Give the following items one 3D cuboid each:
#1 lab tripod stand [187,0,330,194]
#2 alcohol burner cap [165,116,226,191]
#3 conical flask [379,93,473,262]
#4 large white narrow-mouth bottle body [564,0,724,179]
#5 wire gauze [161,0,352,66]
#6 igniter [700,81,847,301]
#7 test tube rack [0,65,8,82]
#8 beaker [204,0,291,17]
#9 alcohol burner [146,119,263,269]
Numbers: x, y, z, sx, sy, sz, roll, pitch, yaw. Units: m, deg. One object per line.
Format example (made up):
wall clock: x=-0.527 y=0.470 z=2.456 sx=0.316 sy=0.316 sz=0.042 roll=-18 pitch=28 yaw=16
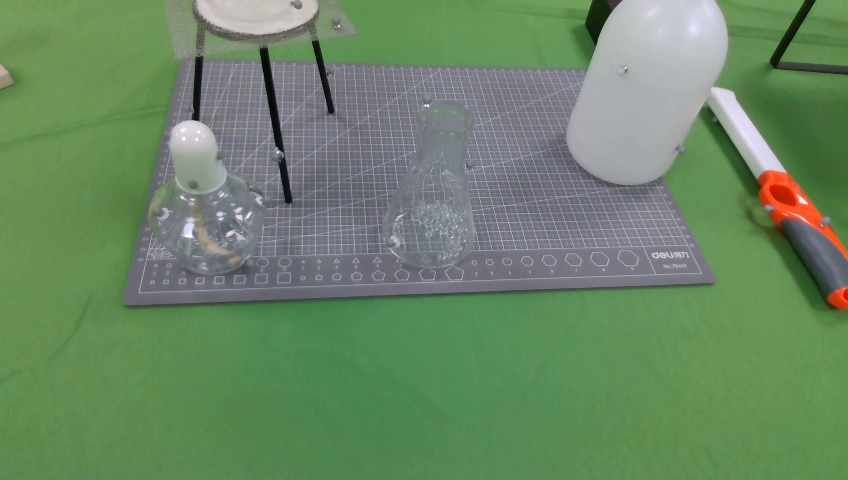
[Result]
lab tripod stand: x=-0.129 y=-0.132 z=0.487 sx=0.148 sy=0.132 sz=0.147 roll=5 pitch=50 yaw=-6
alcohol burner cap: x=-0.147 y=-0.057 z=0.387 sx=0.034 sy=0.048 sz=0.033 roll=4 pitch=55 yaw=-5
conical flask: x=0.007 y=-0.046 z=0.442 sx=0.075 sy=0.123 sz=0.074 roll=4 pitch=50 yaw=-4
large white narrow-mouth bottle body: x=0.189 y=-0.150 z=0.508 sx=0.102 sy=0.196 sz=0.101 roll=4 pitch=50 yaw=-4
wire gauze: x=-0.126 y=-0.175 z=0.438 sx=0.122 sy=0.011 sz=0.124 roll=-14 pitch=57 yaw=-17
igniter: x=0.324 y=-0.058 z=0.563 sx=0.057 sy=0.025 sz=0.273 roll=7 pitch=49 yaw=-17
test tube rack: x=-0.480 y=-0.131 z=0.470 sx=0.066 sy=0.086 sz=0.242 roll=38 pitch=55 yaw=22
beaker: x=-0.125 y=-0.209 z=0.401 sx=0.084 sy=0.101 sz=0.073 roll=-6 pitch=53 yaw=-13
alcohol burner: x=-0.152 y=-0.035 z=0.415 sx=0.078 sy=0.120 sz=0.077 roll=5 pitch=48 yaw=-6
